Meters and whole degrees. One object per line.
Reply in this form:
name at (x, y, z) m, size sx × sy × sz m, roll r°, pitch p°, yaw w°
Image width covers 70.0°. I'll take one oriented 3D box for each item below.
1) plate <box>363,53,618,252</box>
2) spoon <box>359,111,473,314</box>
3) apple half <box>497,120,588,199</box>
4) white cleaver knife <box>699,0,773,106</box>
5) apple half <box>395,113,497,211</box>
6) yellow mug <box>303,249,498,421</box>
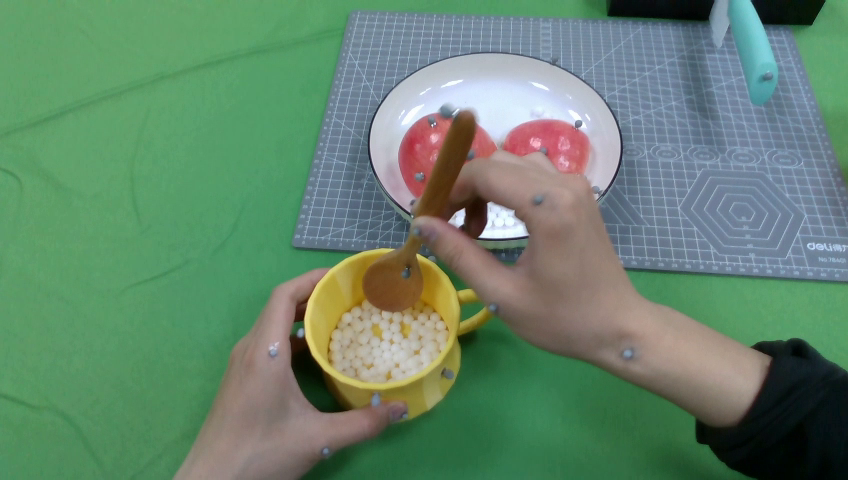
plate at (0.054, -0.074, 0.509) m, size 0.209 × 0.038 × 0.207 m, roll -1°, pitch 57°, yaw 1°
spoon at (-0.005, -0.003, 0.338) m, size 0.042 × 0.194 × 0.021 m, roll 19°, pitch 59°, yaw -5°
apple half at (0.099, -0.075, 0.500) m, size 0.081 × 0.033 × 0.080 m, roll -1°, pitch 60°, yaw 2°
white cleaver knife at (0.288, -0.225, 0.583) m, size 0.021 × 0.066 × 0.284 m, roll 2°, pitch 53°, yaw 9°
apple half at (0.017, -0.071, 0.489) m, size 0.081 × 0.054 × 0.074 m, roll -34°, pitch 60°, yaw -18°
yellow mug at (-0.011, 0.060, 0.411) m, size 0.131 × 0.064 × 0.099 m, roll -16°, pitch 59°, yaw -9°
